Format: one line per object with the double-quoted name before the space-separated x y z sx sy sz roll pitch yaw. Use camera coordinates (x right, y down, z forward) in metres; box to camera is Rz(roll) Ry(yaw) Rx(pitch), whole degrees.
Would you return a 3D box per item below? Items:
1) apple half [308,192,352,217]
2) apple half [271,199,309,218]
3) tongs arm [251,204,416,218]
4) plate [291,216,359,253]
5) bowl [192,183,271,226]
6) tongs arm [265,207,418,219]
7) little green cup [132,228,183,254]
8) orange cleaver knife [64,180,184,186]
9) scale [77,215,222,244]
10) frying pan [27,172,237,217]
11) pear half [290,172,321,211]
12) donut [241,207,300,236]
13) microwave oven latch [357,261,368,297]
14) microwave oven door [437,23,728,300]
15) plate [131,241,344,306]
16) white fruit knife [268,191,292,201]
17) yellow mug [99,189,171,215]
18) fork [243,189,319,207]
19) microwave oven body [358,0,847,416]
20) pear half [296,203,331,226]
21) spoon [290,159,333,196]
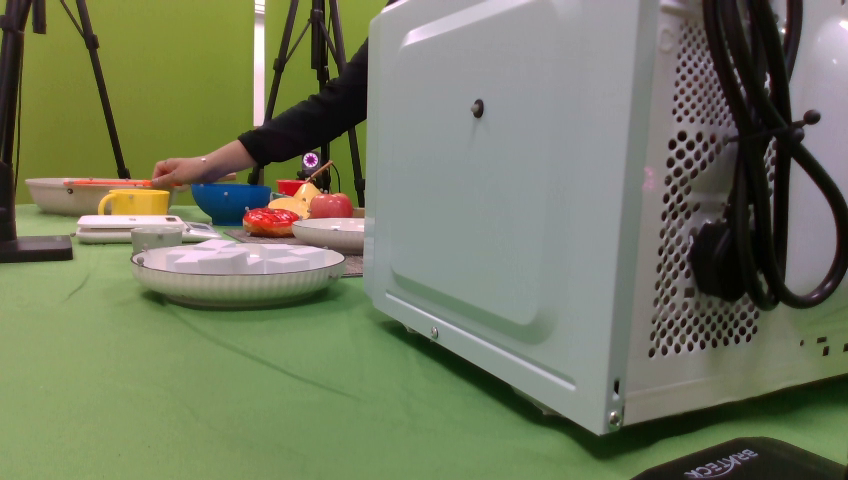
"apple half" -0.165 -0.050 1.106 0.081 0.074 0.053 2 10 -41
"apple half" -0.254 -0.039 1.142 0.082 0.081 0.032 -3 -35 -33
"tongs arm" -0.210 -0.069 1.440 0.389 0.027 0.028 0 0 -17
"plate" -0.103 -0.009 0.945 0.209 0.038 0.209 2 8 0
"bowl" -0.382 -0.070 1.202 0.151 0.077 0.151 3 7 0
"tongs arm" -0.173 -0.061 1.363 0.387 0.026 0.050 -1 4 -31
"little green cup" -0.342 0.006 0.779 0.061 0.038 0.061 2 8 0
"orange cleaver knife" -0.595 -0.114 1.211 0.212 0.012 0.077 -4 6 -43
"scale" -0.434 -0.019 0.963 0.202 0.031 0.148 -1 9 -27
"frying pan" -0.624 -0.118 1.387 0.305 0.102 0.490 8 17 32
"pear half" -0.228 -0.078 1.182 0.076 0.110 0.056 -2 8 2
"donut" -0.263 -0.031 1.039 0.099 0.048 0.099 5 9 0
"microwave oven latch" -0.019 0.033 0.531 0.079 0.029 0.030 -1 7 -27
"microwave oven door" 0.180 -0.073 0.621 0.358 0.243 0.039 -2 8 -29
"plate" -0.187 0.033 0.625 0.208 0.039 0.207 2 8 0
"white fruit knife" -0.364 -0.105 1.464 0.208 0.027 0.016 15 0 -34
"yellow mug" -0.519 -0.055 1.080 0.099 0.064 0.131 7 9 26
"fork" -0.356 -0.105 1.526 0.208 0.018 0.028 16 -9 -40
"microwave oven body" 0.211 -0.047 0.474 0.444 0.260 0.324 -1 7 -28
"pear half" -0.229 -0.049 1.259 0.070 0.031 0.088 0 23 -3
"spoon" -0.316 -0.159 1.640 0.194 0.022 0.041 -49 33 -20
